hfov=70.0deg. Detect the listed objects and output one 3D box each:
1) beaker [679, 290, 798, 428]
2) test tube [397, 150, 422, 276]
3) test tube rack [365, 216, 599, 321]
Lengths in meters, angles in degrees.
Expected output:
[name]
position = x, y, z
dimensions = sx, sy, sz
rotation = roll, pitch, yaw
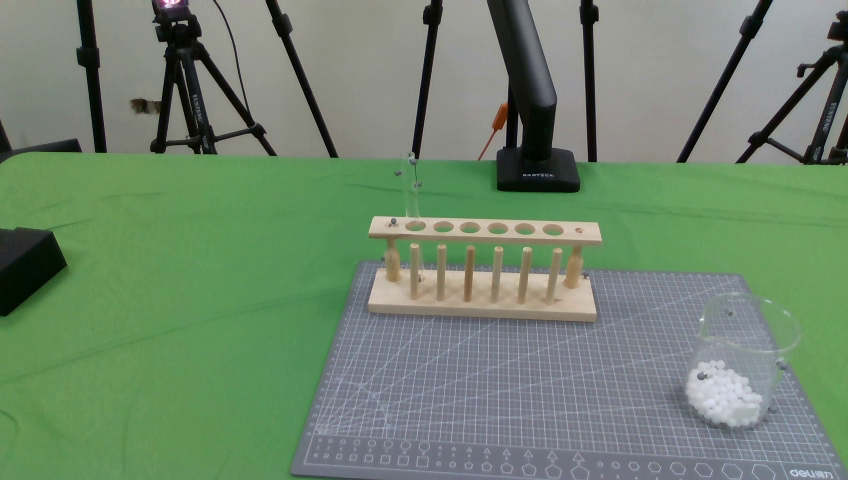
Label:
[beaker]
position = 0.262, 0.105, 0.520
dimensions = 0.084, 0.101, 0.073
rotation = -9, 35, -9
[test tube]
position = -0.015, -0.025, 0.644
dimensions = 0.017, 0.151, 0.017
rotation = -3, 32, 2
[test tube rack]
position = 0.059, 0.029, 0.651
dimensions = 0.242, 0.086, 0.066
rotation = 2, 34, 5
